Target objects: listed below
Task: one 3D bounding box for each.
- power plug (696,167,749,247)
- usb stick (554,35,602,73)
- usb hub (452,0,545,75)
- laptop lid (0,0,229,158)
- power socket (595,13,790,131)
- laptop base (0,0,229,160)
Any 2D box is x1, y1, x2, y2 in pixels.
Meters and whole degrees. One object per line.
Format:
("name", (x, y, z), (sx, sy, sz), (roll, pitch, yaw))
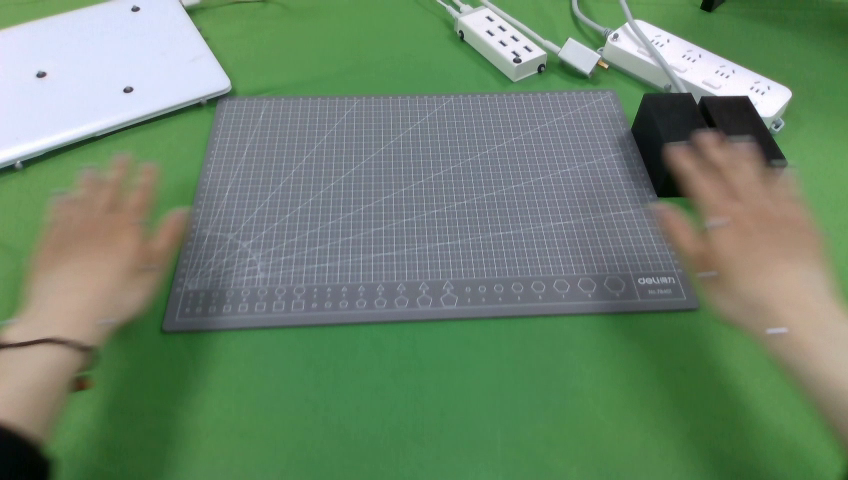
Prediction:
("power plug", (0.276, -0.026, 0.560), (0.035, 0.053, 0.072), (35, 43, 1))
("usb stick", (0.185, -0.217, 0.714), (0.059, 0.027, 0.021), (27, 11, 1))
("usb hub", (0.088, -0.249, 0.738), (0.049, 0.025, 0.124), (-27, 57, -21))
("laptop lid", (-0.422, -0.187, 0.666), (0.357, 0.013, 0.239), (-24, 59, -19))
("power socket", (0.307, -0.198, 0.699), (0.225, 0.033, 0.072), (38, 60, 25))
("laptop base", (-0.423, -0.181, 0.676), (0.355, 0.023, 0.233), (-25, 61, -20))
